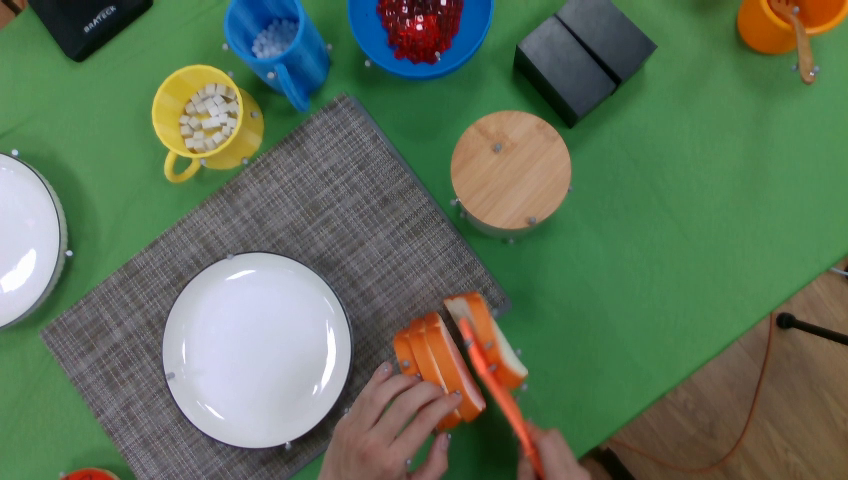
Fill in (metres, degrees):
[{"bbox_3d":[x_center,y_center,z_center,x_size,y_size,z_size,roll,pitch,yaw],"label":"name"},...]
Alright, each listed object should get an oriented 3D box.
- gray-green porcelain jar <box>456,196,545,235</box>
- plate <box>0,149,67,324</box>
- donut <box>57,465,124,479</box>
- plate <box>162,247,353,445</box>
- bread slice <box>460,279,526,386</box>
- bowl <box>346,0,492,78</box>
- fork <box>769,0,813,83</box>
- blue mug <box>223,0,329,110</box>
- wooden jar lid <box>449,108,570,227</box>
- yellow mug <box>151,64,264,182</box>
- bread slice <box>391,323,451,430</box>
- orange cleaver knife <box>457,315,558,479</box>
[{"bbox_3d":[0.083,-0.060,0.611,0.106,0.127,0.105,0,86,4],"label":"gray-green porcelain jar"},{"bbox_3d":[-0.505,-0.003,0.695,0.207,0.039,0.207,0,87,4],"label":"plate"},{"bbox_3d":[-0.367,0.297,0.663,0.099,0.048,0.099,0,85,3],"label":"donut"},{"bbox_3d":[-0.177,0.113,0.659,0.209,0.038,0.208,0,86,5],"label":"plate"},{"bbox_3d":[0.069,0.091,0.604,0.019,0.131,0.105,-31,90,5],"label":"bread slice"},{"bbox_3d":[-0.002,-0.239,0.652,0.151,0.077,0.151,0,87,5],"label":"bowl"},{"bbox_3d":[0.357,-0.207,0.588,0.028,0.019,0.206,25,44,-1],"label":"fork"},{"bbox_3d":[-0.150,-0.196,0.647,0.082,0.106,0.116,-18,85,3],"label":"blue mug"},{"bbox_3d":[0.077,-0.065,0.549,0.108,0.021,0.108,0,86,2],"label":"wooden jar lid"},{"bbox_3d":[-0.245,-0.121,0.669,0.100,0.064,0.131,31,90,7],"label":"yellow mug"},{"bbox_3d":[-0.002,0.133,0.605,0.018,0.135,0.106,-25,81,2],"label":"bread slice"},{"bbox_3d":[0.085,0.163,0.590,0.012,0.076,0.213,-28,112,7],"label":"orange cleaver knife"}]
